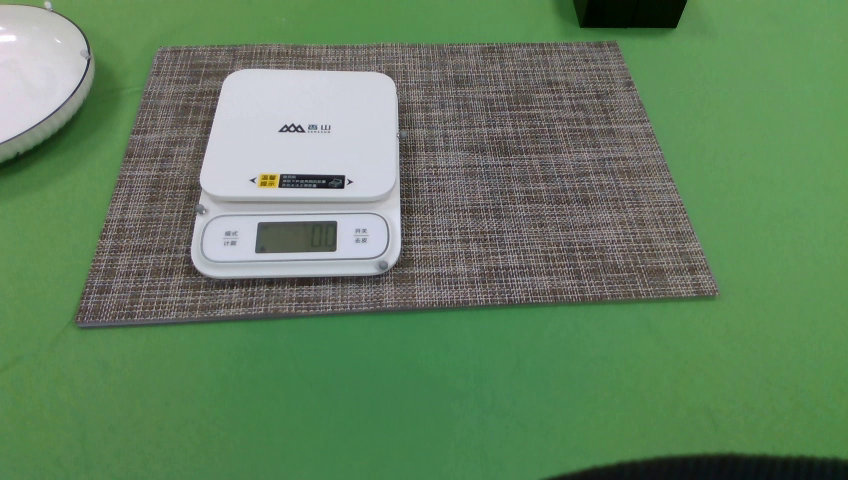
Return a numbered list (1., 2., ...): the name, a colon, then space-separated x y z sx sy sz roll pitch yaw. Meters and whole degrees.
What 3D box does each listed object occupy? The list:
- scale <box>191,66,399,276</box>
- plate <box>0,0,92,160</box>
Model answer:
1. scale: -0.096 -0.063 0.476 0.149 0.032 0.199 -1 55 -3
2. plate: -0.386 -0.127 0.510 0.208 0.039 0.205 2 54 -2
